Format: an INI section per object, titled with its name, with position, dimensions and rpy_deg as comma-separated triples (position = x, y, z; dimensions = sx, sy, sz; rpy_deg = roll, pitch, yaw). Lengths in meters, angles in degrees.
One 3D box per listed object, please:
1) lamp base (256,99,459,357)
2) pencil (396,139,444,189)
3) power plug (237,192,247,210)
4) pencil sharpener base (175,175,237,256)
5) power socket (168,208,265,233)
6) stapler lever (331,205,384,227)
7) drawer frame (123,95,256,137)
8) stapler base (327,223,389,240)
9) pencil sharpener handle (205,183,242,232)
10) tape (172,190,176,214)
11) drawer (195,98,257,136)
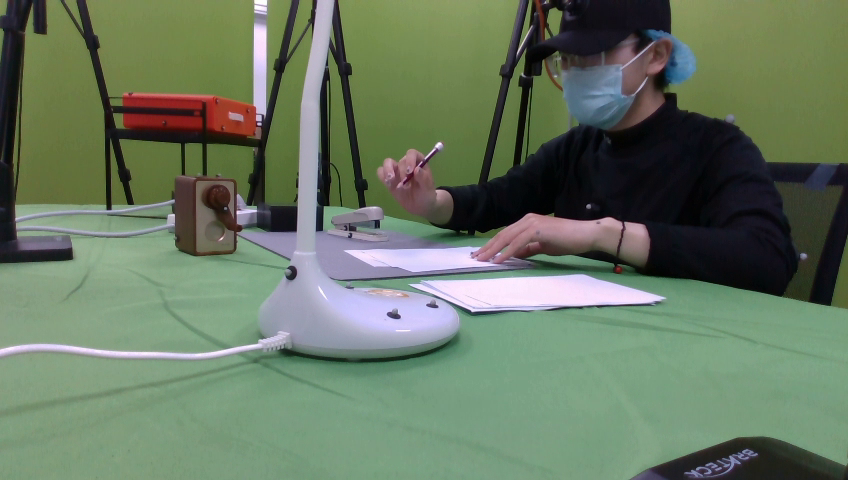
[lamp base]
position = -0.055, -0.013, 0.463
dimensions = 0.160, 0.180, 0.180
rpy_deg = 6, 11, 27
[pencil]
position = -0.005, -0.126, 0.990
dimensions = 0.012, 0.012, 0.194
rpy_deg = 6, 32, 23
[power plug]
position = -0.386, -0.071, 1.204
dimensions = 0.072, 0.052, 0.035
rpy_deg = 6, 9, 26
[pencil sharpener base]
position = -0.304, -0.036, 0.847
dimensions = 0.062, 0.107, 0.076
rpy_deg = -4, 10, -42
[power socket]
position = -0.381, -0.038, 1.129
dimensions = 0.072, 0.032, 0.227
rpy_deg = 4, 8, 17
[stapler lever]
position = -0.119, -0.044, 1.070
dimensions = 0.117, 0.040, 0.027
rpy_deg = 6, 8, 41
[drawer frame]
position = -0.524, -0.281, 1.376
dimensions = 0.213, 0.082, 0.202
rpy_deg = 3, 8, 8
[stapler base]
position = -0.117, -0.019, 1.073
dimensions = 0.130, 0.024, 0.041
rpy_deg = 7, 8, 41
[pencil sharpener handle]
position = -0.265, -0.043, 0.813
dimensions = 0.036, 0.068, 0.030
rpy_deg = -32, 28, -35
[tape]
position = -0.515, -0.087, 1.388
dimensions = 0.117, 0.052, 0.117
rpy_deg = 3, 7, 0
[drawer]
position = -0.518, -0.279, 1.376
dimensions = 0.211, 0.073, 0.195
rpy_deg = 3, 8, 10
